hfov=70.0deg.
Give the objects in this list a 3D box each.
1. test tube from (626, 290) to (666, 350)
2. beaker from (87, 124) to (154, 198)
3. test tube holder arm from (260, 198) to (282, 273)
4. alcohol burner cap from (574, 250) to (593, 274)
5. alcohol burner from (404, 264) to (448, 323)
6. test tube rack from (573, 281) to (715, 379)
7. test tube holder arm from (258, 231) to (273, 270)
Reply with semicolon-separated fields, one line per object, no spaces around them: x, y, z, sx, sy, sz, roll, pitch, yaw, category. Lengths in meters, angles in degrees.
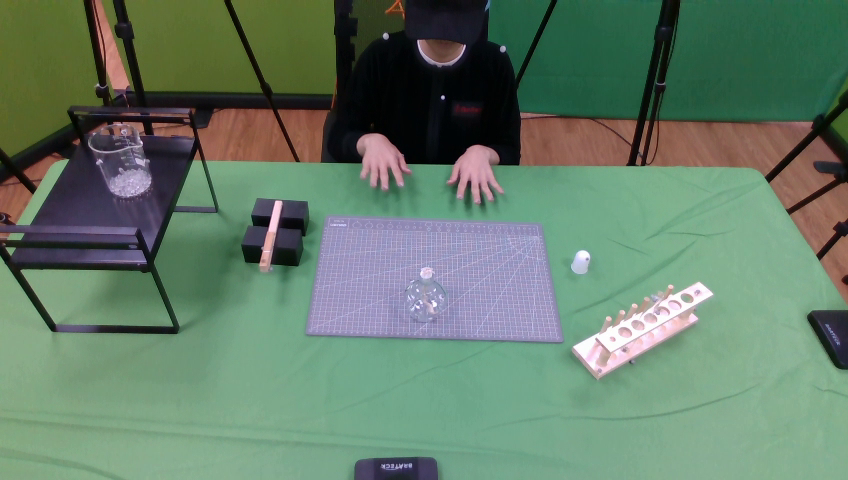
0.355;0.132;0.975;0.017;0.151;0.017;3;46;-3;test tube
-0.482;-0.124;0.978;0.084;0.101;0.073;9;46;4;beaker
-0.282;-0.012;1.120;0.015;0.013;0.177;-3;48;3;test tube holder arm
0.308;0.039;1.163;0.034;0.048;0.033;1;46;-1;alcohol burner cap
0.003;0.087;1.042;0.078;0.120;0.077;1;45;0;alcohol burner
0.378;0.140;1.038;0.242;0.085;0.066;-22;51;-23;test tube rack
-0.282;0.018;1.086;0.015;0.010;0.087;-3;47;3;test tube holder arm
